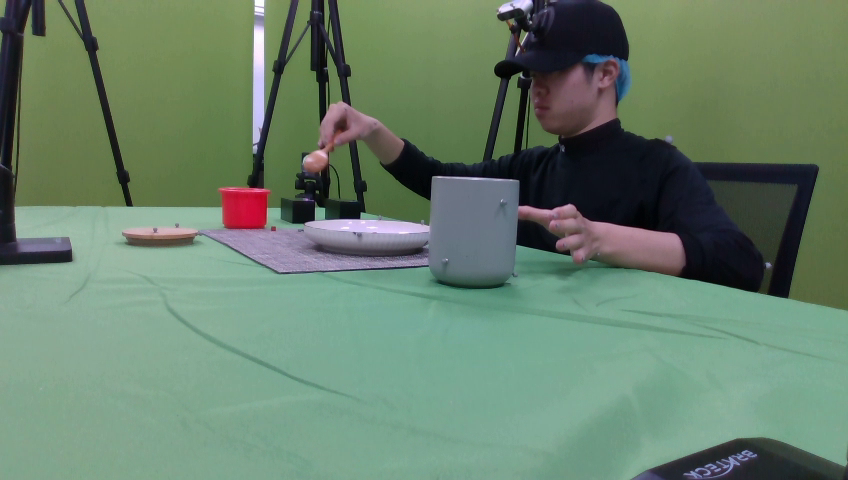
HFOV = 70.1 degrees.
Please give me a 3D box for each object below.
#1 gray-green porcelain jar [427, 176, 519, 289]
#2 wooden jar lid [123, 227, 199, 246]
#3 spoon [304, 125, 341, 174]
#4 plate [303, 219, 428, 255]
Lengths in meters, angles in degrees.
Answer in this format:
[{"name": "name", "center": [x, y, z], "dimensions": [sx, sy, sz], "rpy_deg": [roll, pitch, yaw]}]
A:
[{"name": "gray-green porcelain jar", "center": [0.057, -0.010, 0.722], "dimensions": [0.106, 0.126, 0.106], "rpy_deg": [2, 7, 0]}, {"name": "wooden jar lid", "center": [-0.408, -0.006, 0.942], "dimensions": [0.108, 0.020, 0.108], "rpy_deg": [3, 6, 0]}, {"name": "spoon", "center": [-0.182, -0.172, 1.115], "dimensions": [0.042, 0.021, 0.193], "rpy_deg": [26, 29, -10]}, {"name": "plate", "center": [-0.085, -0.005, 0.952], "dimensions": [0.208, 0.039, 0.207], "rpy_deg": [3, 7, 0]}]
